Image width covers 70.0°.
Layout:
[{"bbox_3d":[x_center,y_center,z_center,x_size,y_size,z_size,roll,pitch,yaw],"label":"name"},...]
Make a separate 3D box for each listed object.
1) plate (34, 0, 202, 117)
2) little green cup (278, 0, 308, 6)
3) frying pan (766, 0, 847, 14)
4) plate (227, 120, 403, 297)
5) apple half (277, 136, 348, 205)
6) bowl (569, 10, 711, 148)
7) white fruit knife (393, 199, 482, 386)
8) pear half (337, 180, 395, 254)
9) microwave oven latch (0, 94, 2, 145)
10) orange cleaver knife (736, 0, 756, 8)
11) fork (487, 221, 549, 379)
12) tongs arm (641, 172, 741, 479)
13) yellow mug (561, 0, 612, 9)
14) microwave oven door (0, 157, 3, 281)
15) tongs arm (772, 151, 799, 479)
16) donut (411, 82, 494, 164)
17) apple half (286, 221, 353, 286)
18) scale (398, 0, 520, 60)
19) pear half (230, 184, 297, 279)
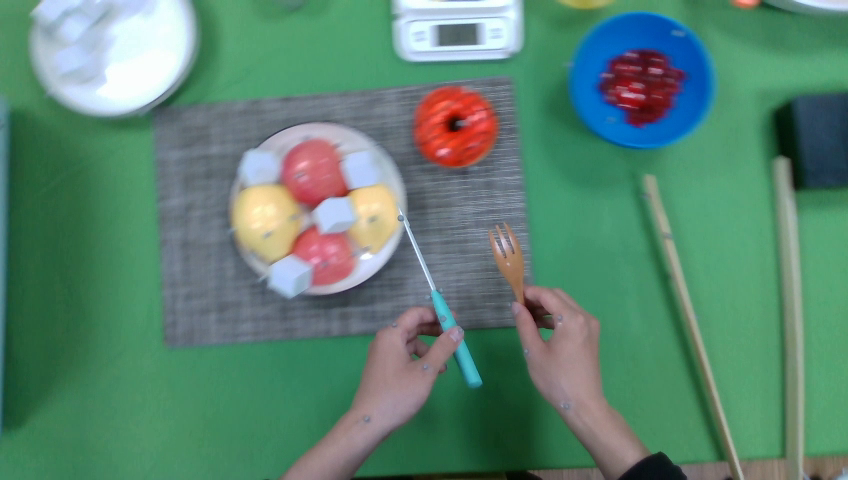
[{"bbox_3d":[-0.375,-0.252,0.756,0.207,0.039,0.207,0,85,4],"label":"plate"},{"bbox_3d":[-0.166,-0.321,0.747,0.061,0.039,0.061,0,85,4],"label":"little green cup"},{"bbox_3d":[0.514,-0.306,0.667,0.307,0.103,0.485,-31,76,2],"label":"frying pan"},{"bbox_3d":[-0.126,-0.036,0.718,0.209,0.038,0.208,0,86,4],"label":"plate"},{"bbox_3d":[-0.134,-0.081,0.705,0.074,0.053,0.080,-17,88,5],"label":"apple half"},{"bbox_3d":[0.235,-0.172,0.689,0.151,0.077,0.151,0,86,4],"label":"bowl"},{"bbox_3d":[0.012,0.054,0.601,0.016,0.027,0.207,-24,95,7],"label":"white fruit knife"},{"bbox_3d":[-0.072,-0.028,0.708,0.070,0.031,0.087,-3,83,17],"label":"pear half"},{"bbox_3d":[-0.537,-0.146,0.739,0.030,0.029,0.079,0,86,3],"label":"microwave oven latch"},{"bbox_3d":[0.344,-0.359,0.663,0.077,0.012,0.211,-14,85,0],"label":"orange cleaver knife"},{"bbox_3d":[0.101,0.068,0.619,0.028,0.018,0.209,-19,123,5],"label":"fork"},{"bbox_3d":[0.317,0.104,0.683,0.051,0.026,0.384,-13,86,-1],"label":"tongs arm"},{"bbox_3d":[0.188,-0.346,0.711,0.100,0.064,0.130,-37,83,1],"label":"yellow mug"},{"bbox_3d":[-0.541,0.064,0.621,0.039,0.244,0.355,-2,85,4],"label":"microwave oven door"},{"bbox_3d":[0.400,0.093,0.681,0.028,0.028,0.386,1,86,-3],"label":"tongs arm"},{"bbox_3d":[0.033,-0.137,0.712,0.099,0.048,0.099,0,86,7],"label":"donut"},{"bbox_3d":[-0.127,0.016,0.706,0.081,0.033,0.081,-1,80,4],"label":"apple half"},{"bbox_3d":[0.042,-0.322,0.736,0.148,0.031,0.200,0,86,4],"label":"scale"},{"bbox_3d":[-0.184,-0.010,0.699,0.076,0.056,0.109,-11,89,-5],"label":"pear half"}]
